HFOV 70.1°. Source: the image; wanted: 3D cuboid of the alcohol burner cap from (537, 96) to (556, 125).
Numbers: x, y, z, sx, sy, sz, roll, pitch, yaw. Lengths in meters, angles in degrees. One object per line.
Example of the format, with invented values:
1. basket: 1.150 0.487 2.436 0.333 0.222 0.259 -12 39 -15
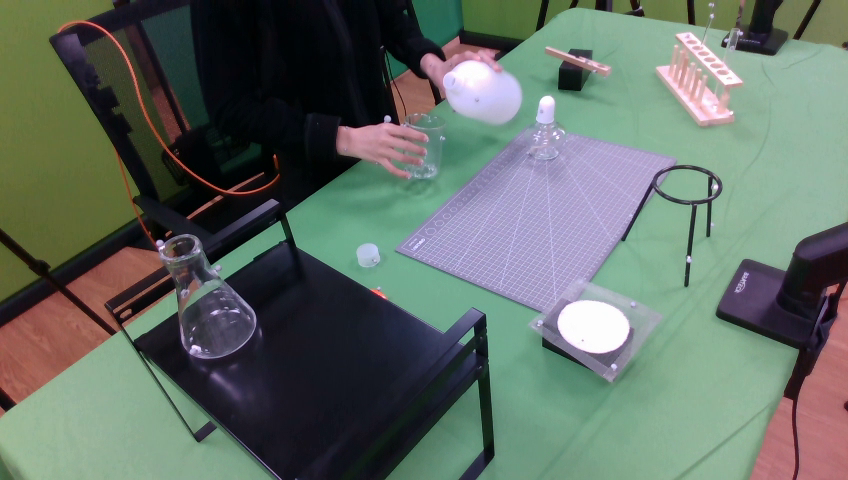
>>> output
1. alcohol burner cap: 0.223 -0.237 1.095 0.034 0.048 0.033 -1 42 1

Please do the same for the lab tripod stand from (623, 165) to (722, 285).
1. lab tripod stand: 0.365 -0.030 0.874 0.148 0.132 0.147 -6 41 6

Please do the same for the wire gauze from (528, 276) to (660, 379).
1. wire gauze: 0.214 0.103 0.763 0.124 0.011 0.122 30 52 35

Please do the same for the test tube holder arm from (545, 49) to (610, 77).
1. test tube holder arm: 0.331 -0.387 1.315 0.013 0.015 0.177 -26 43 -29

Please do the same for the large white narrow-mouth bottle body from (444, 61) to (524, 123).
1. large white narrow-mouth bottle body: 0.102 -0.278 1.122 0.101 0.102 0.196 24 16 32

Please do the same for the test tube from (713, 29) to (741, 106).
1. test tube: 0.572 -0.324 1.146 0.017 0.151 0.017 -3 39 3

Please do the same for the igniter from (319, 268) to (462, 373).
1. igniter: -0.059 0.107 0.862 0.274 0.025 0.057 28 62 34

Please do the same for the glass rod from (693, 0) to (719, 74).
1. glass rod: 0.560 -0.401 1.214 0.008 0.200 0.008 -1 48 2

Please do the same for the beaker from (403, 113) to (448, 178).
1. beaker: 0.001 -0.169 1.086 0.074 0.100 0.084 11 32 8

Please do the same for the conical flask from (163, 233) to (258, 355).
1. conical flask: -0.217 0.051 0.601 0.075 0.122 0.075 -4 40 4

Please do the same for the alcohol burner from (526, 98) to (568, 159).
1. alcohol burner: 0.228 -0.210 1.118 0.078 0.119 0.077 -5 43 5

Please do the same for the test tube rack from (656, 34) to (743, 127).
1. test tube rack: 0.553 -0.330 1.233 0.067 0.085 0.241 -7 40 2

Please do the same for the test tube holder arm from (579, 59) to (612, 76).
1. test tube holder arm: 0.363 -0.368 1.289 0.010 0.015 0.087 -27 43 -30

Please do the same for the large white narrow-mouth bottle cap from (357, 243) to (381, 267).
1. large white narrow-mouth bottle cap: -0.088 0.023 0.972 0.038 0.024 0.037 -4 41 4
